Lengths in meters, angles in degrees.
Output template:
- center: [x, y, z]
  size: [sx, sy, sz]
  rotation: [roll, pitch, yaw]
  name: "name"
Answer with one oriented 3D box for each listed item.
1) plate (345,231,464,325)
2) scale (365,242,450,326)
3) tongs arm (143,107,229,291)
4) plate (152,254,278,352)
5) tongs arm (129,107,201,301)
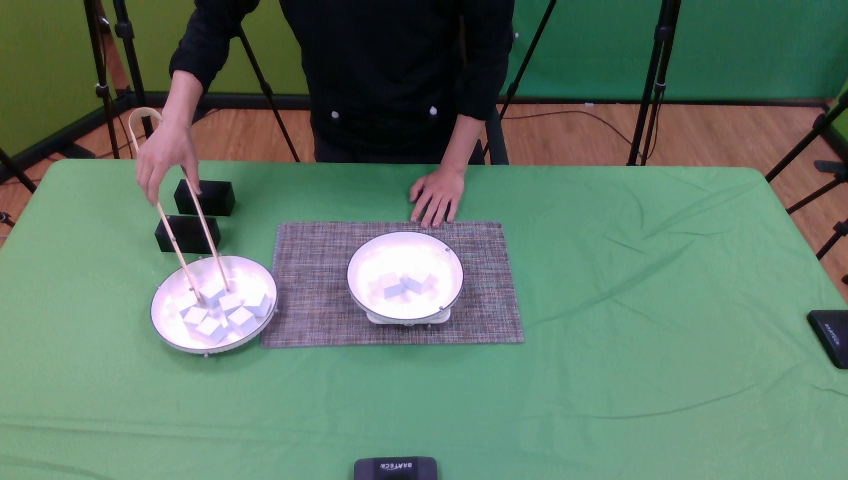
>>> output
- center: [-0.034, 0.069, 1.069]
  size: [0.209, 0.038, 0.208]
  rotation: [2, 46, -2]
  name: "plate"
- center: [-0.032, 0.071, 1.113]
  size: [0.149, 0.032, 0.199]
  rotation: [0, 46, -4]
  name: "scale"
- center: [-0.432, -0.081, 1.106]
  size: [0.028, 0.028, 0.386]
  rotation: [-23, 78, -14]
  name: "tongs arm"
- center: [-0.357, 0.111, 1.052]
  size: [0.208, 0.039, 0.206]
  rotation: [2, 46, -2]
  name: "plate"
- center: [-0.459, -0.070, 1.097]
  size: [0.051, 0.026, 0.383]
  rotation: [-25, 78, -18]
  name: "tongs arm"
